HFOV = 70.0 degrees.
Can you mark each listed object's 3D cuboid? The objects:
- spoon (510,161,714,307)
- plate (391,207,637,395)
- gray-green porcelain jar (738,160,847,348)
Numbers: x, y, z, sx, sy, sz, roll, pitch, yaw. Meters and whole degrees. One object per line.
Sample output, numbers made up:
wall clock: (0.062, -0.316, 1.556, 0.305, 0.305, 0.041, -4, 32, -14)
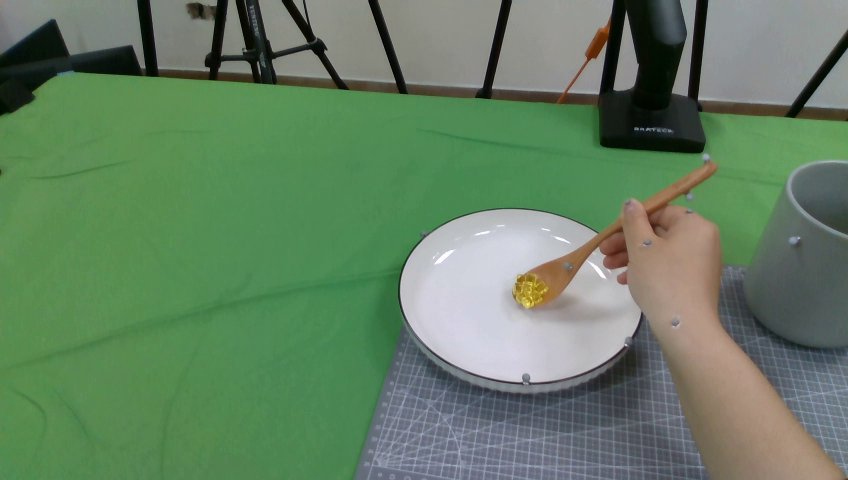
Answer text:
spoon: (0.149, -0.003, 0.498, 0.022, 0.194, 0.041, 31, 32, -33)
plate: (0.076, 0.051, 0.530, 0.208, 0.039, 0.205, -1, 43, 1)
gray-green porcelain jar: (0.324, 0.016, 0.491, 0.106, 0.127, 0.105, -1, 43, 2)
